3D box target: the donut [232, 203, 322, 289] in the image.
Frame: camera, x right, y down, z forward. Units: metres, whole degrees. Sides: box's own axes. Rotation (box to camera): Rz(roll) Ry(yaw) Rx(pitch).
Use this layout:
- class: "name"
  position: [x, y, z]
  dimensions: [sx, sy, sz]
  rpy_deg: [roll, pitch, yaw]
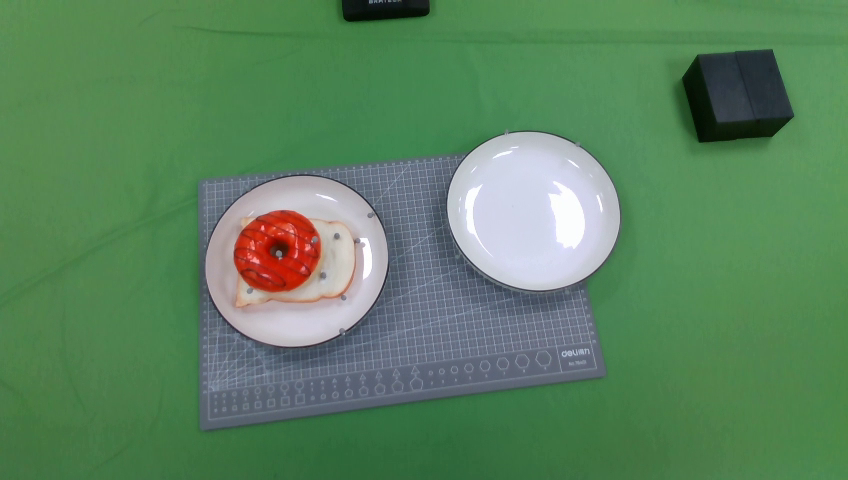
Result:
- class: "donut"
  position: [-0.163, 0.006, 0.674]
  dimensions: [0.099, 0.048, 0.098]
  rpy_deg: [0, 71, -1]

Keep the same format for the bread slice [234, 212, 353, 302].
- class: "bread slice"
  position: [-0.150, 0.016, 0.701]
  dimensions: [0.134, 0.018, 0.106]
  rpy_deg: [-4, 72, -5]

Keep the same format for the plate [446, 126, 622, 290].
- class: "plate"
  position: [0.129, -0.038, 0.728]
  dimensions: [0.208, 0.039, 0.206]
  rpy_deg: [1, 71, -1]

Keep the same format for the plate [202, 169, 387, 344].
- class: "plate"
  position: [-0.145, 0.020, 0.699]
  dimensions: [0.209, 0.038, 0.207]
  rpy_deg: [1, 71, -2]
